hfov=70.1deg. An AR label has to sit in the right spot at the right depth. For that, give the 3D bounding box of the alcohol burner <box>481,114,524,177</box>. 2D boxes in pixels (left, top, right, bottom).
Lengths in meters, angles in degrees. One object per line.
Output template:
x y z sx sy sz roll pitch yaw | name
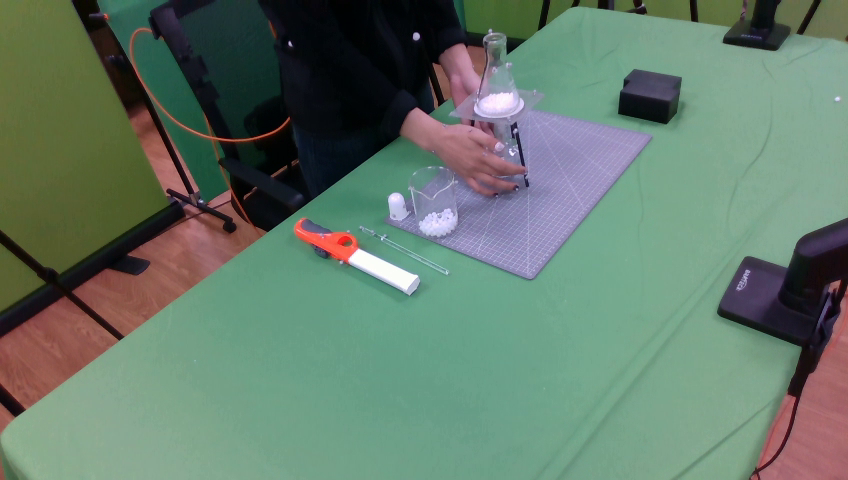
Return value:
0.141 -0.174 1.087 0.078 0.119 0.077 -4 40 4 | alcohol burner

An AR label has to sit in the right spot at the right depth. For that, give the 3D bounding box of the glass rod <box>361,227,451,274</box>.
-0.033 0.014 0.985 0.198 0.008 0.008 25 52 34 | glass rod

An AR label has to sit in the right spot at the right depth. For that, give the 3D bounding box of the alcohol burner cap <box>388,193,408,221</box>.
-0.047 -0.059 1.044 0.034 0.048 0.033 -6 40 5 | alcohol burner cap

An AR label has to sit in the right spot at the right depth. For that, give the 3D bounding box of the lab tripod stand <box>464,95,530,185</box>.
0.138 -0.182 1.082 0.148 0.132 0.147 -6 38 6 | lab tripod stand

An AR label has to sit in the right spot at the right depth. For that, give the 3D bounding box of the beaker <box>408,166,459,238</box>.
0.019 -0.058 0.984 0.074 0.101 0.083 -6 41 6 | beaker

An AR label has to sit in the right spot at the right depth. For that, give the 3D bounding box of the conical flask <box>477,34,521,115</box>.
0.121 -0.275 0.999 0.075 0.122 0.075 -5 40 5 | conical flask

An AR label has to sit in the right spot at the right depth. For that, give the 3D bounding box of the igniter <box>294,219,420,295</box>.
-0.118 0.022 0.977 0.274 0.025 0.057 24 60 34 | igniter

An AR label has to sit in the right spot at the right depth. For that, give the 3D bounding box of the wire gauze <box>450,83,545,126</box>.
0.126 -0.232 1.041 0.120 0.011 0.125 17 48 31 | wire gauze
